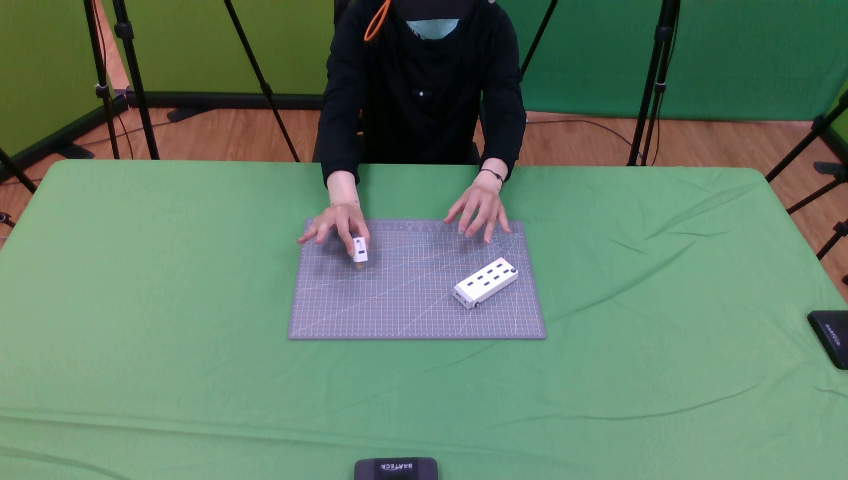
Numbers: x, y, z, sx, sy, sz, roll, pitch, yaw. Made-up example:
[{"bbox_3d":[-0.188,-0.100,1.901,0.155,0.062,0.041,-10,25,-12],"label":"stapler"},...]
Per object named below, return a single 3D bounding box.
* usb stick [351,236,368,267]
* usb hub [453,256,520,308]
[{"bbox_3d":[-0.119,0.023,1.128,0.021,0.059,0.027,-11,11,-29],"label":"usb stick"},{"bbox_3d":[0.117,0.077,1.121,0.125,0.025,0.049,-29,55,-27],"label":"usb hub"}]
